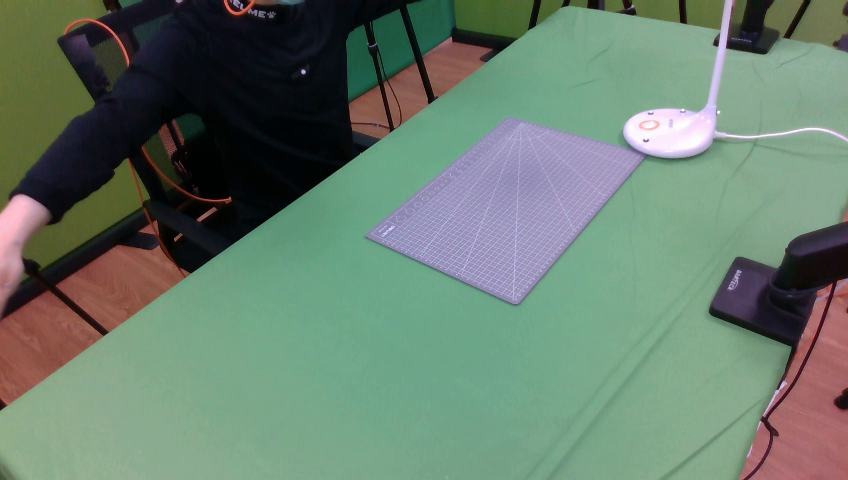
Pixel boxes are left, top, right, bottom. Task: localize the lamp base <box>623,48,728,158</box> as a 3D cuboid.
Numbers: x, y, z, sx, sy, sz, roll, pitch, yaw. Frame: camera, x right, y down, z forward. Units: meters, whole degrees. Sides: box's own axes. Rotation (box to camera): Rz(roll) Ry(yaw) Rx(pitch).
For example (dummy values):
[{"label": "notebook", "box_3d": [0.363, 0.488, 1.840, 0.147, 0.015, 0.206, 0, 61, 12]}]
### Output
[{"label": "lamp base", "box_3d": [0.462, -0.261, 1.084, 0.179, 0.181, 0.160, 3, 42, 7]}]
